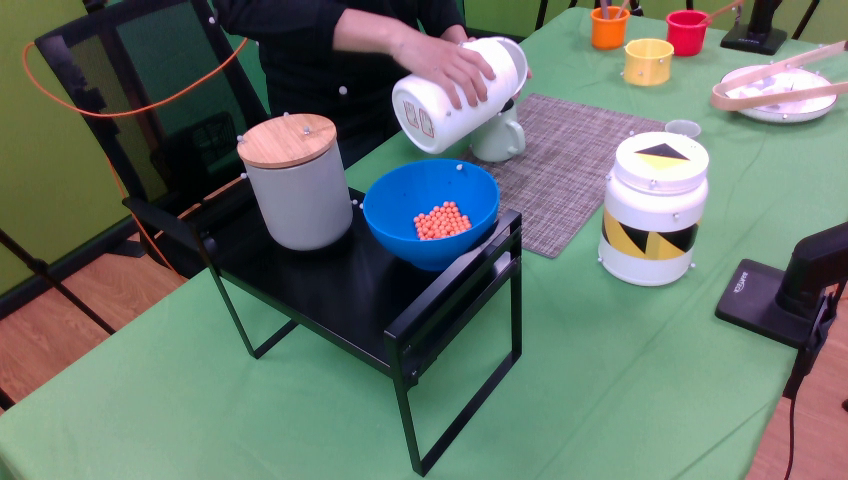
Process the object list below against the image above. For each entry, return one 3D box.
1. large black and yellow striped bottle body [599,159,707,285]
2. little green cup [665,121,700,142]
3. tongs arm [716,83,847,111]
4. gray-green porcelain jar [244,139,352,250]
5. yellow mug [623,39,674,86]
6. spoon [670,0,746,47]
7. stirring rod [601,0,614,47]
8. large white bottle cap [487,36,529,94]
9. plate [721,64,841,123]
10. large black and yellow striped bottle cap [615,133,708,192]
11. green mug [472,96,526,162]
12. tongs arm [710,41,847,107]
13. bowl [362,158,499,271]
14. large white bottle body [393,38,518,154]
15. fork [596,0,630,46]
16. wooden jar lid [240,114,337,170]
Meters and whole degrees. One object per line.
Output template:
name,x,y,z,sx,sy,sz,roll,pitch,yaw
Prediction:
large black and yellow striped bottle body,0.320,-0.042,0.854,0.131,0.185,0.130,-4,40,4
little green cup,0.472,-0.188,1.113,0.061,0.039,0.061,-5,40,4
tongs arm,0.738,-0.282,1.134,0.388,0.028,0.028,-9,47,-5
gray-green porcelain jar,-0.144,-0.060,0.714,0.106,0.127,0.105,-4,41,4
yellow mug,0.485,-0.398,1.334,0.100,0.064,0.130,-18,41,-10
spoon,0.629,-0.484,1.350,0.022,0.193,0.042,48,54,-7
stirring rod,0.439,-0.552,1.463,0.014,0.006,0.175,-7,83,3
large white bottle cap,0.136,-0.319,1.119,0.115,0.115,0.018,-2,34,7
plate,0.695,-0.282,1.189,0.207,0.039,0.206,-4,40,4
large black and yellow striped bottle cap,0.312,-0.105,0.798,0.115,0.019,0.114,-5,41,5
green mug,0.144,-0.202,1.122,0.093,0.105,0.124,-29,45,-23
tongs arm,0.712,-0.332,1.194,0.386,0.026,0.050,-18,45,-16
bowl,0.011,-0.019,0.679,0.151,0.077,0.150,-5,41,4
large white bottle body,0.055,-0.243,1.004,0.185,0.131,0.129,-38,48,-19
fork,0.481,-0.556,1.453,0.028,0.019,0.207,40,103,38
wooden jar lid,-0.149,-0.106,0.674,0.108,0.021,0.108,-6,38,5
